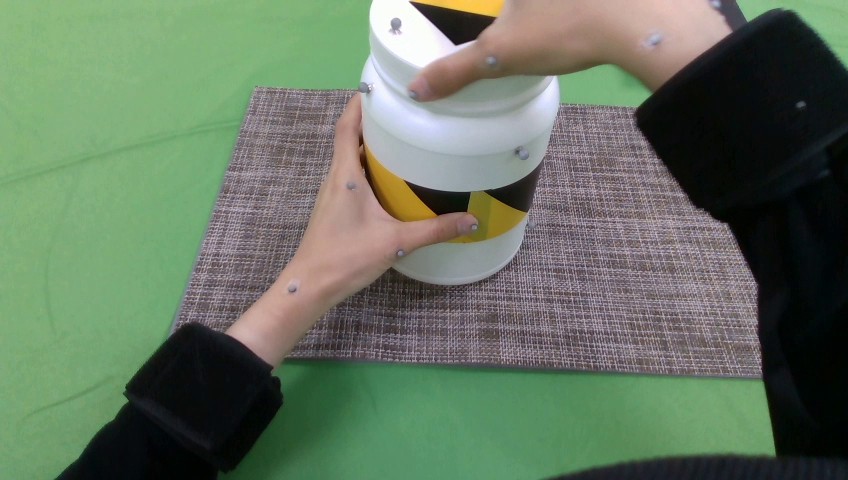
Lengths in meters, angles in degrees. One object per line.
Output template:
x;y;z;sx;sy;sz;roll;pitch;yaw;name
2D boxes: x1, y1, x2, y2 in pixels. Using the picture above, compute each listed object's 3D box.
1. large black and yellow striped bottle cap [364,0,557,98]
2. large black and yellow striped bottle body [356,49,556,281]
0.021;-0.128;0.361;0.115;0.019;0.114;2;52;-3;large black and yellow striped bottle cap
0.019;-0.072;0.429;0.131;0.185;0.129;2;51;-2;large black and yellow striped bottle body
